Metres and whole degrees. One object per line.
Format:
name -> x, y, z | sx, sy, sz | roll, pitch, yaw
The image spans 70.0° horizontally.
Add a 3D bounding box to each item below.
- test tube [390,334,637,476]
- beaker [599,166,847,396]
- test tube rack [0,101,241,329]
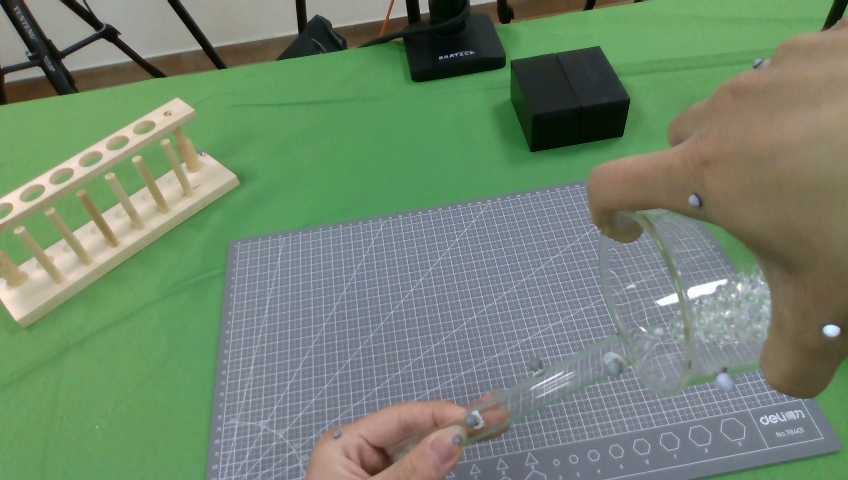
test tube -> 0.037, 0.086, 0.301 | 0.150, 0.017, 0.017 | -36, 42, 28
beaker -> 0.131, 0.015, 0.240 | 0.100, 0.085, 0.073 | -13, 54, -4
test tube rack -> -0.309, -0.031, 0.592 | 0.066, 0.086, 0.242 | 34, 61, 31
